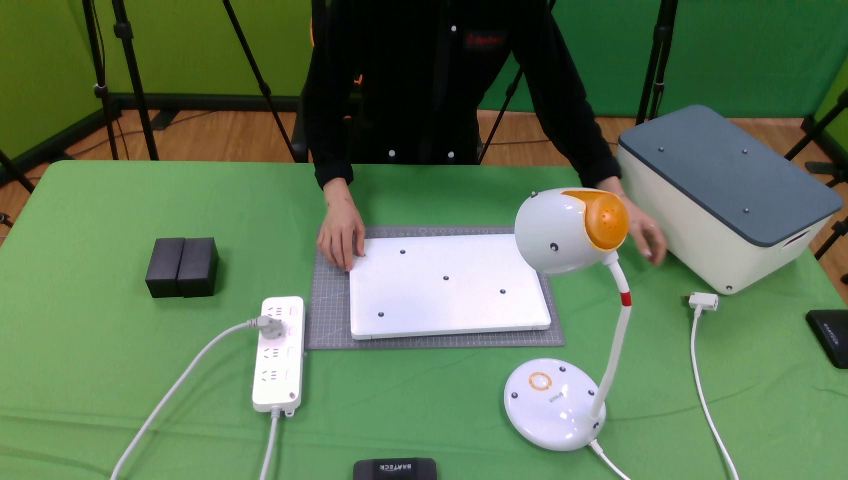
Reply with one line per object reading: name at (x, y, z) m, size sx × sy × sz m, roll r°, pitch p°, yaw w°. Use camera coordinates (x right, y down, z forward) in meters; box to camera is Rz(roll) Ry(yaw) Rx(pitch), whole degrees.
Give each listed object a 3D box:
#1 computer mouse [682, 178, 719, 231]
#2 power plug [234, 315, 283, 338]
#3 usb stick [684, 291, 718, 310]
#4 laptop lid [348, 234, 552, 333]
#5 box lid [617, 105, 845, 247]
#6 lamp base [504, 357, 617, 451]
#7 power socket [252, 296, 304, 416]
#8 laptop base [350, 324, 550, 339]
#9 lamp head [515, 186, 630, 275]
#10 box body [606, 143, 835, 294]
computer mouse at (0.596, -0.078, 1.290) m, size 0.117 × 0.041 × 0.062 m, roll 56°, pitch 45°, yaw -7°
power plug at (-0.270, 0.142, 1.000) m, size 0.072 × 0.053 × 0.035 m, roll 6°, pitch 47°, yaw 2°
usb stick at (0.509, 0.111, 1.121) m, size 0.059 × 0.021 × 0.027 m, roll 6°, pitch 54°, yaw 46°
laptop lid at (0.039, 0.072, 1.116) m, size 0.357 × 0.013 × 0.240 m, roll -1°, pitch 44°, yaw -5°
box lid at (0.586, -0.138, 1.176) m, size 0.263 × 0.015 × 0.369 m, roll -22°, pitch 51°, yaw -23°
lamp base at (0.220, 0.211, 0.903) m, size 0.160 × 0.181 × 0.178 m, roll -33°, pitch 59°, yaw -30°
power socket at (-0.238, 0.181, 0.997) m, size 0.072 × 0.033 × 0.225 m, roll -3°, pitch 47°, yaw -5°
laptop base at (0.038, 0.082, 1.123) m, size 0.355 × 0.023 × 0.234 m, roll -2°, pitch 43°, yaw -6°
lamp head at (0.188, -0.013, 0.728) m, size 0.112 × 0.112 × 0.122 m, roll -25°, pitch 9°, yaw -25°
box body at (0.582, -0.088, 1.230) m, size 0.254 × 0.161 × 0.361 m, roll -22°, pitch 52°, yaw -23°
